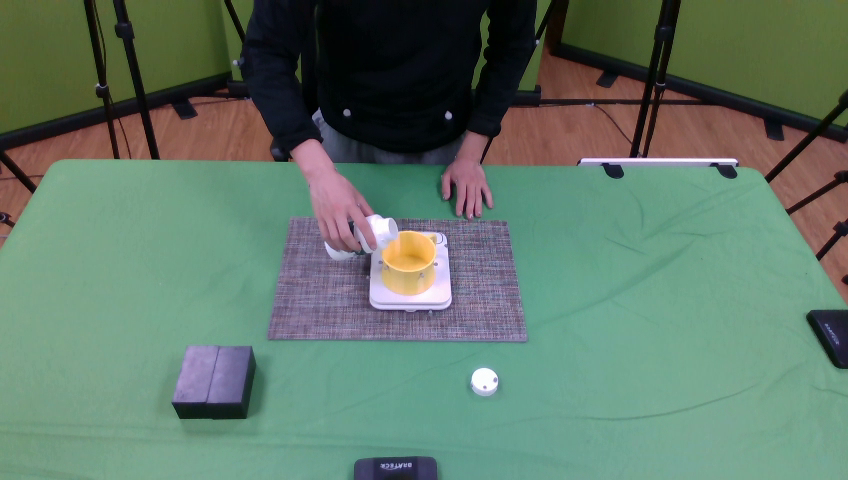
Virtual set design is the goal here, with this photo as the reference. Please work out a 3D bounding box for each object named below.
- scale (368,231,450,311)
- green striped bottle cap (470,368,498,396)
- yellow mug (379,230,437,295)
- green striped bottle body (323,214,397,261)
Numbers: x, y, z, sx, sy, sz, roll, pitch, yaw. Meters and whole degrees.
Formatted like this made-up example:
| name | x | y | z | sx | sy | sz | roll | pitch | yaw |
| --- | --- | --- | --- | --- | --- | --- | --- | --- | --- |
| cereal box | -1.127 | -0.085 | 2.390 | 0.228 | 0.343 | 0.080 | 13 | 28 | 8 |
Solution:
| name | x | y | z | sx | sy | sz | roll | pitch | yaw |
| --- | --- | --- | --- | --- | --- | --- | --- | --- | --- |
| scale | -0.029 | 0.048 | 1.137 | 0.149 | 0.032 | 0.199 | 1 | 46 | -4 |
| green striped bottle cap | 0.098 | 0.231 | 0.989 | 0.044 | 0.020 | 0.044 | 2 | 43 | -2 |
| yellow mug | -0.020 | 0.031 | 1.089 | 0.099 | 0.064 | 0.130 | 31 | 51 | 24 |
| green striped bottle body | -0.108 | -0.007 | 1.044 | 0.119 | 0.063 | 0.063 | -14 | 43 | 19 |
